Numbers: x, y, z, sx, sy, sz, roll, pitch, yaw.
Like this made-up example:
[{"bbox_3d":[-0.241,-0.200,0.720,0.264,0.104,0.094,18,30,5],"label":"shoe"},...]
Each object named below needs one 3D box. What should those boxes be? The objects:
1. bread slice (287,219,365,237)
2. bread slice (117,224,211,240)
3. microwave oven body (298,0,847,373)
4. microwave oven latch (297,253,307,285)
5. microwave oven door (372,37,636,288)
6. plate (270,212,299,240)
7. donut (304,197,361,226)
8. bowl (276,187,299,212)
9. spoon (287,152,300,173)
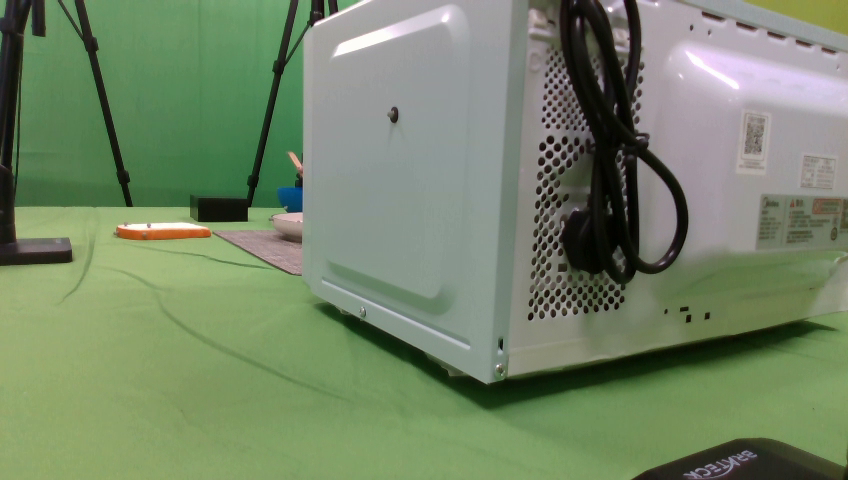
[{"bbox_3d":[-0.170,-0.022,1.056,0.134,0.018,0.107,2,7,-6],"label":"bread slice"},{"bbox_3d":[-0.443,-0.015,1.022,0.132,0.019,0.104,-3,8,-45],"label":"bread slice"},{"bbox_3d":[0.151,-0.055,0.542,0.444,0.260,0.324,-2,7,-33],"label":"microwave oven body"},{"bbox_3d":[-0.082,0.027,0.582,0.079,0.029,0.030,-1,7,-32],"label":"microwave oven latch"},{"bbox_3d":[0.109,-0.080,0.686,0.358,0.243,0.039,-2,9,-33],"label":"microwave oven door"},{"bbox_3d":[-0.162,-0.022,1.058,0.208,0.039,0.207,2,7,0],"label":"plate"},{"bbox_3d":[-0.160,-0.050,1.055,0.099,0.048,0.099,3,8,0],"label":"donut"},{"bbox_3d":[-0.241,-0.073,1.302,0.151,0.077,0.151,2,6,0],"label":"bowl"},{"bbox_3d":[-0.270,-0.140,1.357,0.042,0.021,0.193,-11,51,-27],"label":"spoon"}]
